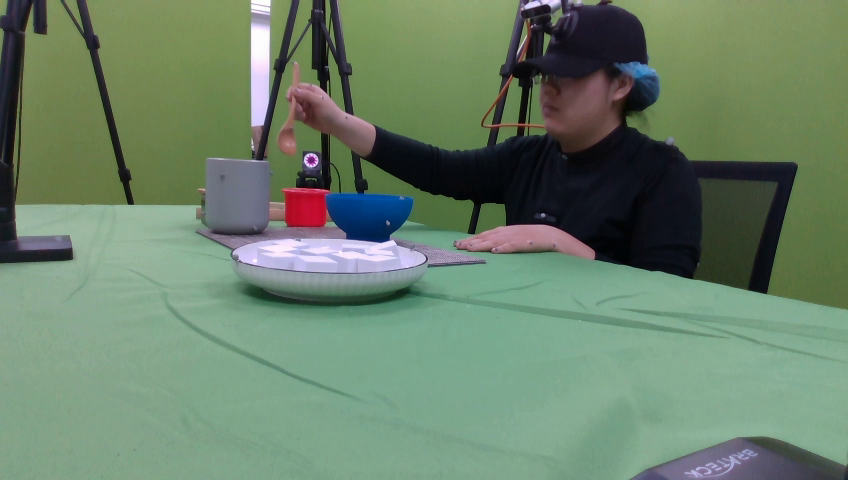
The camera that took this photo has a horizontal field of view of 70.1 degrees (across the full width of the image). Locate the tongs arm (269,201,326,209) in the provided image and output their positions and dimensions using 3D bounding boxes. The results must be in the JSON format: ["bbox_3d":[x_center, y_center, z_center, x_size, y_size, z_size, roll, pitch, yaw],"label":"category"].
[{"bbox_3d":[-0.308,-0.073,1.410,0.386,0.026,0.050,3,8,-6],"label":"tongs arm"}]

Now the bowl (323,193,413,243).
[{"bbox_3d":[-0.094,-0.037,1.015,0.151,0.077,0.151,3,7,0],"label":"bowl"}]

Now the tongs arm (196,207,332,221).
[{"bbox_3d":[-0.294,-0.058,1.330,0.389,0.028,0.028,0,6,-20],"label":"tongs arm"}]

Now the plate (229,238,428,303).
[{"bbox_3d":[-0.099,0.032,0.651,0.209,0.038,0.209,3,8,0],"label":"plate"}]

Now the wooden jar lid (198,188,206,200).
[{"bbox_3d":[-0.382,-0.088,1.175,0.108,0.020,0.108,3,8,0],"label":"wooden jar lid"}]

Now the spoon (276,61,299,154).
[{"bbox_3d":[-0.254,-0.256,1.163,0.042,0.193,0.021,17,-15,-40],"label":"spoon"}]

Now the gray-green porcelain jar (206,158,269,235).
[{"bbox_3d":[-0.323,-0.076,1.048,0.106,0.126,0.106,3,7,0],"label":"gray-green porcelain jar"}]
